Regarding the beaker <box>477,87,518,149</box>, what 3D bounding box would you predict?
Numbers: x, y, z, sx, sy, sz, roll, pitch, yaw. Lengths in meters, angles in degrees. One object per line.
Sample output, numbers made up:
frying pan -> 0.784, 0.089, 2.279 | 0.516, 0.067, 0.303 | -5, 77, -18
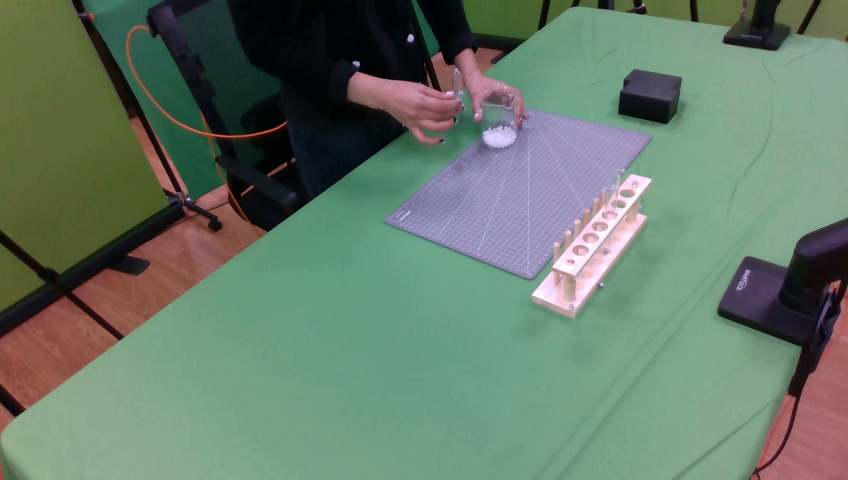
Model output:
beaker -> 0.147, -0.233, 1.167 | 0.074, 0.101, 0.083 | -26, 43, -17

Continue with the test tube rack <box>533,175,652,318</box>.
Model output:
test tube rack -> 0.250, -0.001, 0.889 | 0.066, 0.085, 0.243 | 22, 49, 33

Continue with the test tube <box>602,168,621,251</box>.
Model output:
test tube -> 0.264, -0.039, 0.854 | 0.017, 0.151, 0.017 | -5, 44, 6

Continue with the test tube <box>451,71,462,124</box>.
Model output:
test tube -> 0.058, -0.251, 1.079 | 0.017, 0.151, 0.017 | 0, 70, 2
